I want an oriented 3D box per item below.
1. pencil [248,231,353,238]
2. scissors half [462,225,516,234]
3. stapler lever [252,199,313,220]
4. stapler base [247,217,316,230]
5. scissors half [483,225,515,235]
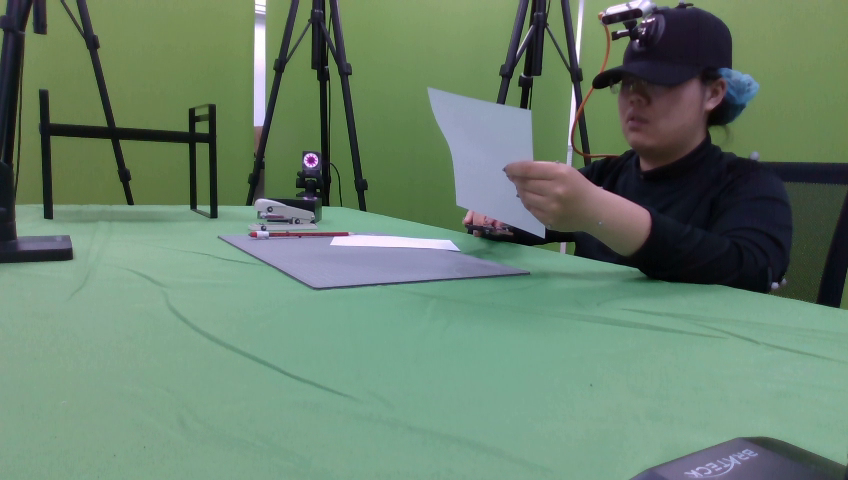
[{"bbox_3d":[-0.206,-0.009,1.039,0.195,0.012,0.012,0,8,-36],"label":"pencil"},{"bbox_3d":[0.098,-0.013,0.918,0.040,0.013,0.174,-2,4,-20],"label":"scissors half"},{"bbox_3d":[-0.273,-0.058,1.170,0.119,0.040,0.026,0,10,-37],"label":"stapler lever"},{"bbox_3d":[-0.276,-0.033,1.172,0.131,0.024,0.041,0,10,-37],"label":"stapler base"},{"bbox_3d":[0.118,-0.012,0.922,0.040,0.013,0.175,5,3,-2],"label":"scissors half"}]
